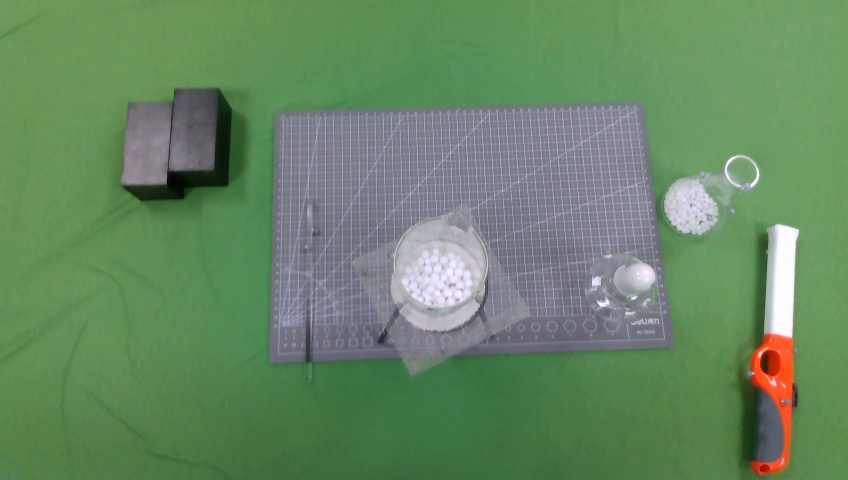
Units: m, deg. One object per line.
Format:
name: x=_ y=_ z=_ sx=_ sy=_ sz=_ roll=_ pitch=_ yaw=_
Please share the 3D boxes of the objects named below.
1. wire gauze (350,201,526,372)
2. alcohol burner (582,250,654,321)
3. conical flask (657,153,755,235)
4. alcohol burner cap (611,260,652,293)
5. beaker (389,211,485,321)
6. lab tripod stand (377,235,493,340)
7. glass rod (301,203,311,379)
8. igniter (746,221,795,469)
wire gauze: x=0.013 y=0.041 z=0.557 sx=0.125 sy=0.011 sz=0.121 roll=-26 pitch=81 yaw=-9
alcohol burner: x=0.209 y=0.044 z=0.639 sx=0.078 sy=0.119 sz=0.077 roll=0 pitch=74 yaw=1
conical flask: x=0.313 y=-0.056 z=0.665 sx=0.075 sy=0.122 sz=0.075 roll=0 pitch=75 yaw=0
alcohol burner cap: x=0.209 y=0.034 z=0.604 sx=0.034 sy=0.048 sz=0.033 roll=0 pitch=81 yaw=-2
beaker: x=0.010 y=0.026 z=0.511 sx=0.074 sy=0.100 sz=0.083 roll=19 pitch=76 yaw=3
lab tripod stand: x=0.010 y=0.057 z=0.621 sx=0.148 sy=0.132 sz=0.147 roll=0 pitch=78 yaw=-1
glass rod: x=-0.133 y=0.054 z=0.682 sx=0.008 sy=0.008 sz=0.199 roll=-1 pitch=79 yaw=-2
igniter: x=0.387 y=0.113 z=0.674 sx=0.057 sy=0.025 sz=0.275 roll=13 pitch=76 yaw=-8
